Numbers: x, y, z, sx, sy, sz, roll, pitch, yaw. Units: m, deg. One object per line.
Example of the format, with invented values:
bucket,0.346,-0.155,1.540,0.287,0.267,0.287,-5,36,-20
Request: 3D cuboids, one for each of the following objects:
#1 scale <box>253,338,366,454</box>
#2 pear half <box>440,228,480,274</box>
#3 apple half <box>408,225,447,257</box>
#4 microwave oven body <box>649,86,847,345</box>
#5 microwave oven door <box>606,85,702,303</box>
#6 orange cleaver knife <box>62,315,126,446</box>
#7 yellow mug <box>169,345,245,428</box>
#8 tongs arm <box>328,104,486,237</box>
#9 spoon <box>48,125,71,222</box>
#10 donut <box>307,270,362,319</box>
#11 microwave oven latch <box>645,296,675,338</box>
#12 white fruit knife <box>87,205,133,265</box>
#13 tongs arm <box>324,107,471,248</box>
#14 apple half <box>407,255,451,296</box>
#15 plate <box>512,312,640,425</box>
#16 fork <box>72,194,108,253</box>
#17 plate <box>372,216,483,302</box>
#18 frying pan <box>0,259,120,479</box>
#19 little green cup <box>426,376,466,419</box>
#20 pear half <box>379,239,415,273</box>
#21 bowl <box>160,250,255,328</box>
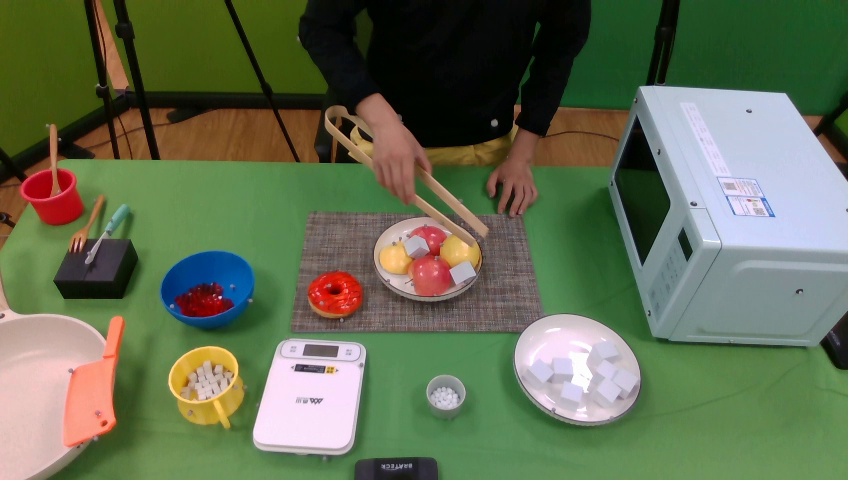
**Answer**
scale,-0.175,0.236,0.951,0.149,0.032,0.199,4,45,-1
pear half,0.065,0.006,1.150,0.076,0.056,0.109,-10,43,-1
apple half,0.011,-0.006,1.176,0.081,0.033,0.081,2,52,-3
microwave oven body,0.567,-0.053,1.118,0.326,0.261,0.439,2,45,-1
microwave oven door,0.423,-0.094,1.140,0.039,0.245,0.353,2,46,-1
orange cleaver knife,-0.480,0.199,0.887,0.077,0.012,0.210,-9,47,-8
yellow mug,-0.322,0.230,0.922,0.100,0.064,0.130,-24,53,-25
tongs arm,-0.039,-0.130,1.106,0.051,0.026,0.383,-34,68,-28
spoon,-0.718,-0.131,1.188,0.041,0.021,0.193,-3,90,-7
donut,-0.158,0.096,1.073,0.099,0.048,0.098,4,45,-4
microwave oven latch,0.412,0.134,1.061,0.030,0.029,0.078,3,45,0
white fruit knife,-0.584,-0.013,1.129,0.016,0.027,0.206,-1,32,-4
tongs arm,-0.057,-0.116,1.092,0.386,0.028,0.028,42,62,18
apple half,0.012,0.058,1.103,0.075,0.053,0.080,-6,43,-14
plate,0.246,0.213,0.999,0.208,0.039,0.206,2,46,-2
fork,-0.634,-0.036,1.158,0.028,0.019,0.206,-8,31,-8
plate,0.006,0.038,1.145,0.209,0.038,0.208,2,46,-2
frying pan,-0.647,0.164,0.936,0.307,0.103,0.485,-19,58,-22
little green cup,0.033,0.248,0.950,0.061,0.039,0.061,2,46,-2
pear half,-0.048,0.024,1.146,0.070,0.031,0.087,12,48,-10
bowl,-0.362,0.098,1.039,0.151,0.077,0.150,2,45,-2
